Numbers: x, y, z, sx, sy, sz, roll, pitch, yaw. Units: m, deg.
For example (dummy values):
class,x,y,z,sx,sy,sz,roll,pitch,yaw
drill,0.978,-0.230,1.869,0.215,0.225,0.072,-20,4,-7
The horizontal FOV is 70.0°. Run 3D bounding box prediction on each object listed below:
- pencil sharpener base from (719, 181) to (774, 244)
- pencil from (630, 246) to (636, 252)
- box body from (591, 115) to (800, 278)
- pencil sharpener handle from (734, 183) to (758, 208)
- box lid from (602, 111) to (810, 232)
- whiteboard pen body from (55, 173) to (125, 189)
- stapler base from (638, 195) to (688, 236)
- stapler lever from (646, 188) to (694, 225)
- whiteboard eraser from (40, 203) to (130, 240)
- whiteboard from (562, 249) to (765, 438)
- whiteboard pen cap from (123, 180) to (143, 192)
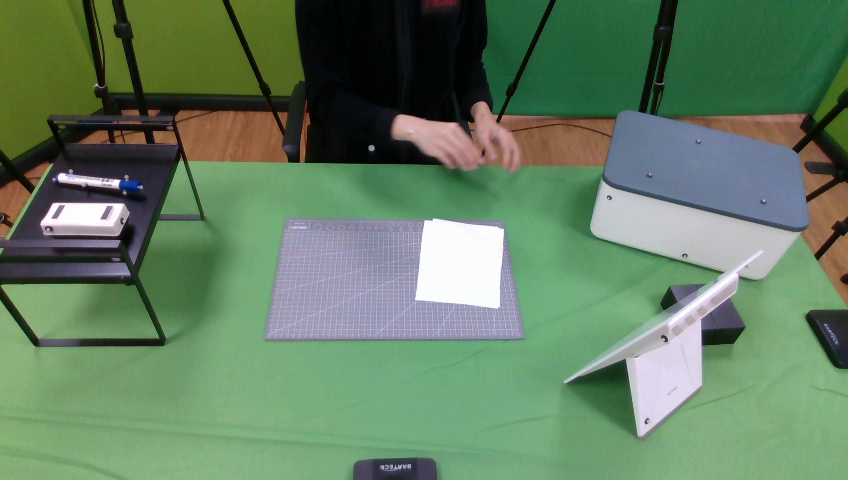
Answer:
class,x,y,z,sx,sy,sz,roll,pitch,yaw
pencil sharpener base,0.652,-0.056,1.232,0.061,0.107,0.076,11,46,6
pencil,0.431,-0.060,1.284,0.012,0.012,0.193,4,58,-1
box body,0.540,-0.092,1.229,0.363,0.161,0.253,16,47,11
pencil sharpener handle,0.663,-0.100,1.259,0.036,0.068,0.030,10,46,6
box lid,0.545,-0.143,1.176,0.371,0.015,0.262,15,47,11
whiteboard pen body,-0.539,-0.095,0.998,0.141,0.017,0.017,6,46,6
stapler base,0.509,-0.059,1.278,0.041,0.024,0.129,-2,40,-29
stapler lever,0.515,-0.078,1.265,0.027,0.040,0.117,-2,42,-29
whiteboard eraser,-0.513,-0.028,0.922,0.113,0.042,0.055,1,48,-3
whiteboard,0.386,0.175,0.905,0.217,0.306,0.143,-26,72,-26
whiteboard pen cap,-0.479,-0.089,0.993,0.033,0.018,0.018,7,46,14
